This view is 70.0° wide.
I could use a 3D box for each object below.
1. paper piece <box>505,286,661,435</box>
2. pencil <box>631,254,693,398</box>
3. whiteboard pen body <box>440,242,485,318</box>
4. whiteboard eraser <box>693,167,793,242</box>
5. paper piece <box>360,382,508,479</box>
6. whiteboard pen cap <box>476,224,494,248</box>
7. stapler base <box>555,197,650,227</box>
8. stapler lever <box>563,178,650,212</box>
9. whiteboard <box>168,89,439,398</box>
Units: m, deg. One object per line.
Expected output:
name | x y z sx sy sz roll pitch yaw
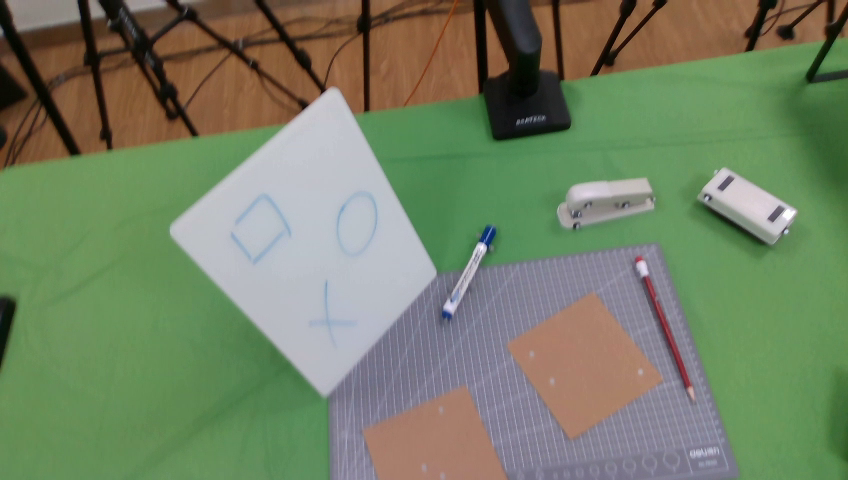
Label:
paper piece | 0.190 0.143 0.737 0.136 0.009 0.137 -30 63 -6
pencil | 0.294 0.101 0.748 0.012 0.012 0.192 -12 61 -1
whiteboard pen body | 0.057 0.042 0.806 0.017 0.017 0.140 21 63 18
whiteboard eraser | 0.422 -0.046 0.806 0.112 0.042 0.055 39 72 24
paper piece | 0.011 0.247 0.694 0.135 0.004 0.134 -21 60 -7
whiteboard pen cap | 0.083 -0.004 0.829 0.018 0.018 0.033 19 63 17
stapler base | 0.248 -0.052 0.840 0.130 0.024 0.041 -13 62 -3
stapler lever | 0.247 -0.065 0.819 0.118 0.040 0.026 -13 61 -2
whiteboard | -0.150 -0.002 0.723 0.217 0.309 0.142 -46 44 -19
